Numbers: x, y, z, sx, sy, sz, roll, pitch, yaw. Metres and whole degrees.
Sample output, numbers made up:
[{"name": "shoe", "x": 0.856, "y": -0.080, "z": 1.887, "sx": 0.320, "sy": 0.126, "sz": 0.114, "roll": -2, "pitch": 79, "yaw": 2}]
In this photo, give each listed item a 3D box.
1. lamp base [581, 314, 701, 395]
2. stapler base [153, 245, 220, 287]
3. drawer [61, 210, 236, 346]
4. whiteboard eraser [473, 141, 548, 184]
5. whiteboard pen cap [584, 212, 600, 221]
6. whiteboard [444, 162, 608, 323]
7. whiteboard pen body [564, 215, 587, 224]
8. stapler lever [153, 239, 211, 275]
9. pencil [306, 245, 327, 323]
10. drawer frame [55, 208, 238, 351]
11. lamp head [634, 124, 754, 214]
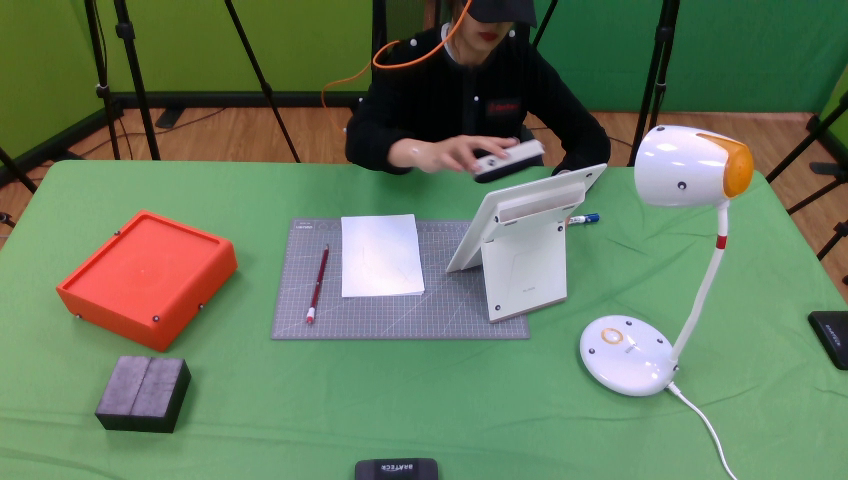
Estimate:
[{"name": "lamp base", "x": 0.361, "y": 0.144, "z": 0.973, "sx": 0.178, "sy": 0.181, "sz": 0.160, "roll": 34, "pitch": 53, "yaw": 23}, {"name": "stapler base", "x": -0.436, "y": 0.042, "z": 1.108, "sx": 0.130, "sy": 0.024, "sz": 0.041, "roll": 23, "pitch": 50, "yaw": 15}, {"name": "drawer", "x": -0.474, "y": 0.061, "z": 1.063, "sx": 0.194, "sy": 0.073, "sz": 0.211, "roll": 19, "pitch": 49, "yaw": 13}, {"name": "whiteboard eraser", "x": 0.136, "y": -0.121, "z": 0.961, "sx": 0.113, "sy": 0.055, "sz": 0.042, "roll": -19, "pitch": 88, "yaw": -4}, {"name": "whiteboard pen cap", "x": 0.351, "y": -0.048, "z": 1.271, "sx": 0.033, "sy": 0.018, "sz": 0.018, "roll": -6, "pitch": 47, "yaw": -11}, {"name": "whiteboard", "x": 0.186, "y": 0.026, "z": 1.028, "sx": 0.217, "sy": 0.306, "sz": 0.143, "roll": -14, "pitch": 68, "yaw": -17}, {"name": "whiteboard pen body", "x": 0.292, "y": -0.040, "z": 1.261, "sx": 0.141, "sy": 0.017, "sz": 0.017, "roll": -7, "pitch": 47, "yaw": -10}, {"name": "stapler lever", "x": -0.436, "y": 0.027, "z": 1.090, "sx": 0.118, "sy": 0.040, "sz": 0.027, "roll": 25, "pitch": 51, "yaw": 14}, {"name": "pencil", "x": -0.196, "y": 0.076, "z": 1.115, "sx": 0.012, "sy": 0.012, "sz": 0.193, "roll": 4, "pitch": 44, "yaw": 0}, {"name": "drawer frame", "x": -0.474, "y": 0.062, "z": 1.059, "sx": 0.201, "sy": 0.083, "sz": 0.213, "roll": 18, "pitch": 48, "yaw": 12}, {"name": "lamp head", "x": 0.351, "y": -0.089, "z": 0.775, "sx": 0.112, "sy": 0.113, "sz": 0.122, "roll": -30, "pitch": 30, "yaw": -28}]
